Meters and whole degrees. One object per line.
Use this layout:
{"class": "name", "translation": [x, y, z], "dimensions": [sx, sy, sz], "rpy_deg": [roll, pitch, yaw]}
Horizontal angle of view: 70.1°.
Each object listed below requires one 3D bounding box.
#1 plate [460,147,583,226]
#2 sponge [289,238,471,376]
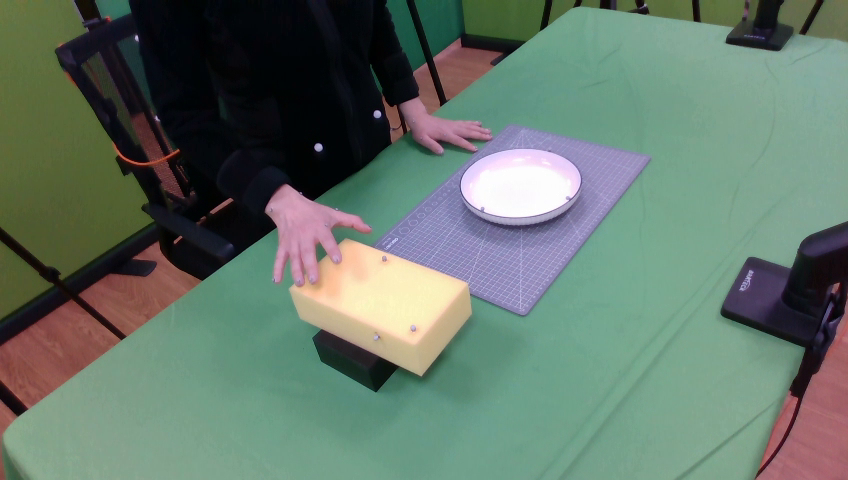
{"class": "plate", "translation": [0.166, -0.089, 1.043], "dimensions": [0.209, 0.038, 0.208], "rpy_deg": [-5, 40, 5]}
{"class": "sponge", "translation": [-0.057, 0.081, 0.794], "dimensions": [0.205, 0.061, 0.118], "rpy_deg": [19, 48, 29]}
